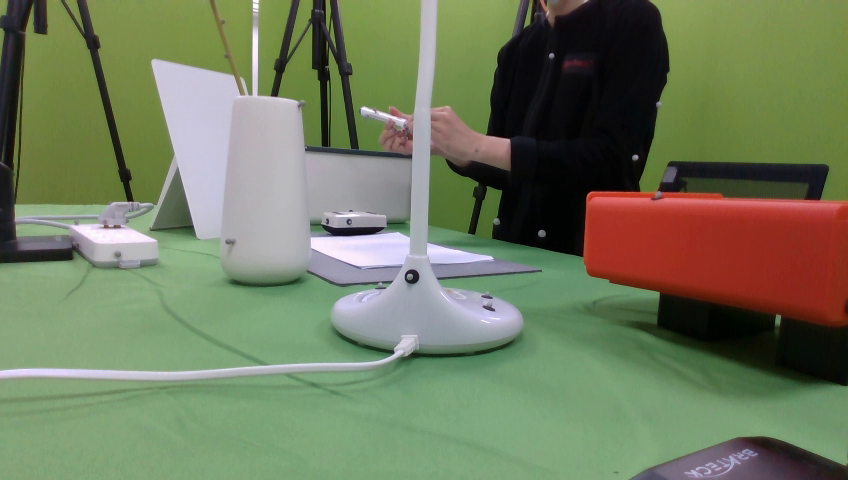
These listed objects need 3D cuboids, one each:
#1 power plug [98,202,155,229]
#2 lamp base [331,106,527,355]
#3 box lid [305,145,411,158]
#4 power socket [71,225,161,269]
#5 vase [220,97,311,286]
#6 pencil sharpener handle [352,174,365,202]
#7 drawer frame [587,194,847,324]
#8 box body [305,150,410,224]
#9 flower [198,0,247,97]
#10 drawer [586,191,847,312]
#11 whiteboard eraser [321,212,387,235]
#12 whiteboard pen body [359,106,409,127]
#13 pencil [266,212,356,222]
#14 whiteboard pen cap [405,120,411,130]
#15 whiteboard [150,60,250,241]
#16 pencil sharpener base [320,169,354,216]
[{"bbox_3d":[-0.416,-0.027,0.848,0.073,0.052,0.035,0,8,-28],"label":"power plug"},{"bbox_3d":[0.006,-0.012,0.478,0.161,0.180,0.179,2,10,2],"label":"lamp base"},{"bbox_3d":[-0.228,-0.200,1.362,0.373,0.015,0.262,-1,8,-33],"label":"box lid"},{"bbox_3d":[-0.408,0.004,0.793,0.072,0.032,0.225,-2,8,-38],"label":"power socket"},{"bbox_3d":[-0.172,-0.052,0.662,0.098,0.200,0.098,3,8,0],"label":"vase"},{"bbox_3d":[-0.156,-0.125,1.450,0.031,0.068,0.036,2,20,-11],"label":"pencil sharpener handle"},{"bbox_3d":[0.285,0.004,0.508,0.203,0.082,0.212,-1,6,-29],"label":"drawer frame"},{"bbox_3d":[-0.230,-0.126,1.372,0.366,0.160,0.253,-2,9,-33],"label":"box body"},{"bbox_3d":[-0.187,-0.133,0.648,0.038,0.362,0.044,-1,21,42],"label":"flower"},{"bbox_3d":[0.281,0.001,0.513,0.195,0.073,0.210,-1,8,-29],"label":"drawer"},{"bbox_3d":[-0.128,-0.031,1.108,0.113,0.042,0.055,-3,7,-38],"label":"whiteboard eraser"},{"bbox_3d":[-0.062,-0.214,1.057,0.140,0.017,0.017,24,19,34],"label":"whiteboard pen body"},{"bbox_3d":[-0.244,-0.049,1.318,0.195,0.012,0.012,4,7,-12],"label":"pencil"},{"bbox_3d":[-0.017,-0.193,1.023,0.033,0.018,0.018,20,17,35],"label":"whiteboard pen cap"},{"bbox_3d":[-0.408,-0.139,1.093,0.143,0.305,0.218,-15,-1,26],"label":"whiteboard"},{"bbox_3d":[-0.207,-0.113,1.438,0.077,0.107,0.061,2,6,-11],"label":"pencil sharpener base"}]
